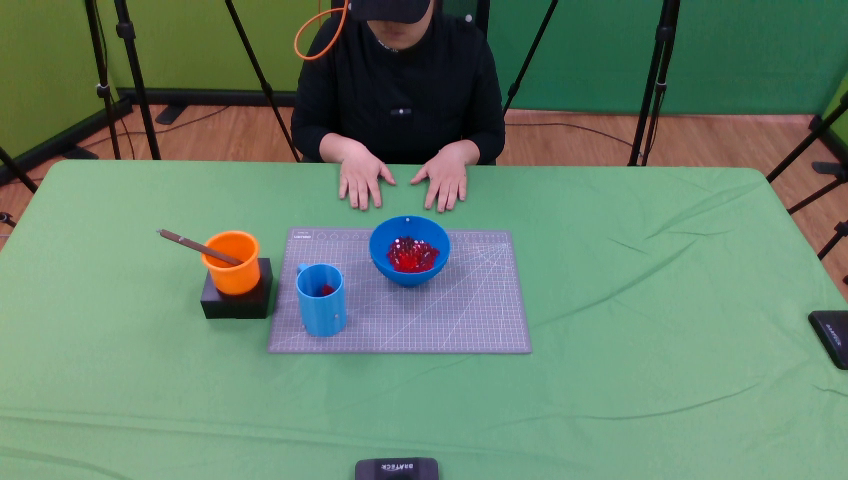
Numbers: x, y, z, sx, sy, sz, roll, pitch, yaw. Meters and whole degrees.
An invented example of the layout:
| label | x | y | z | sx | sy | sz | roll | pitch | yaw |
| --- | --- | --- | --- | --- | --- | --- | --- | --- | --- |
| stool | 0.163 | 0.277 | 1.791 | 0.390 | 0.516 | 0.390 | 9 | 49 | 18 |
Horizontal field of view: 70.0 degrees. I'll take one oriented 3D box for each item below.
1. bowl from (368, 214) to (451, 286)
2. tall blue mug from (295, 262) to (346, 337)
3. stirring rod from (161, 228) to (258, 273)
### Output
| label | x | y | z | sx | sy | sz | roll | pitch | yaw |
| --- | --- | --- | --- | --- | --- | --- | --- | --- | --- |
| bowl | -0.028 | 0.031 | 1.122 | 0.151 | 0.077 | 0.150 | 2 | 46 | -2 |
| tall blue mug | -0.187 | 0.096 | 1.027 | 0.107 | 0.108 | 0.077 | 21 | 49 | 16 |
| stirring rod | -0.351 | 0.020 | 1.003 | 0.177 | 0.006 | 0.014 | 29 | 34 | -38 |
